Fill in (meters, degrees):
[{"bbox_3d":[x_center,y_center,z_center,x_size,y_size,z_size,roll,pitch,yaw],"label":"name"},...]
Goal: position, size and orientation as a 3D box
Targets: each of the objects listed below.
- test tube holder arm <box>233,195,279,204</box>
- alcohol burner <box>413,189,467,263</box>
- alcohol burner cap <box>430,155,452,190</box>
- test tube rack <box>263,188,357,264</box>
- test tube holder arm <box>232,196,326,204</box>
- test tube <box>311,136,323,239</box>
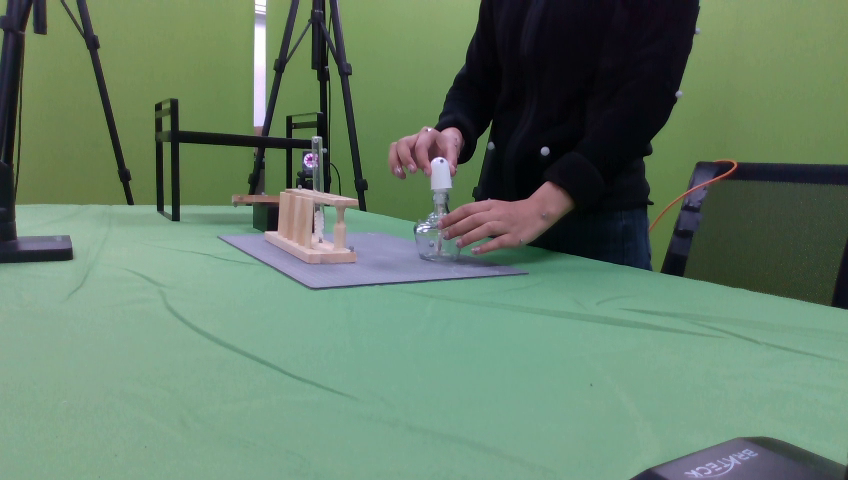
[{"bbox_3d":[-0.307,-0.075,1.117,0.088,0.015,0.010,-1,1,-31],"label":"test tube holder arm"},{"bbox_3d":[0.023,-0.028,0.864,0.078,0.119,0.078,1,7,0],"label":"alcohol burner"},{"bbox_3d":[0.025,-0.096,0.857,0.034,0.048,0.034,3,16,0],"label":"alcohol burner cap"},{"bbox_3d":[-0.175,-0.028,0.890,0.067,0.085,0.241,0,8,-28],"label":"test tube rack"},{"bbox_3d":[-0.271,-0.076,1.145,0.179,0.015,0.013,-1,1,-32],"label":"test tube holder arm"},{"bbox_3d":[-0.155,-0.076,0.878,0.017,0.150,0.017,0,7,0],"label":"test tube"}]
